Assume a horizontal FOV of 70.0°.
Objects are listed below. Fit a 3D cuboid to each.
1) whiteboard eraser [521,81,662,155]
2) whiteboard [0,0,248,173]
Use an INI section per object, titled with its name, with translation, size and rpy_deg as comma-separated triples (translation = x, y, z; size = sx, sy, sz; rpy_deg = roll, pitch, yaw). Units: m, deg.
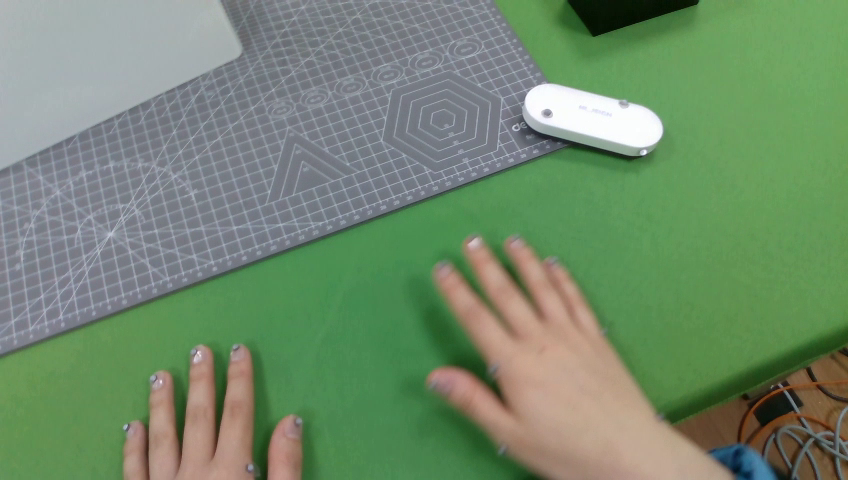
[whiteboard eraser]
translation = 0.123, -0.090, 0.445
size = 0.101, 0.019, 0.041
rpy_deg = 16, 62, 8
[whiteboard]
translation = -0.298, -0.239, 0.406
size = 0.217, 0.309, 0.142
rpy_deg = -30, 46, -13
